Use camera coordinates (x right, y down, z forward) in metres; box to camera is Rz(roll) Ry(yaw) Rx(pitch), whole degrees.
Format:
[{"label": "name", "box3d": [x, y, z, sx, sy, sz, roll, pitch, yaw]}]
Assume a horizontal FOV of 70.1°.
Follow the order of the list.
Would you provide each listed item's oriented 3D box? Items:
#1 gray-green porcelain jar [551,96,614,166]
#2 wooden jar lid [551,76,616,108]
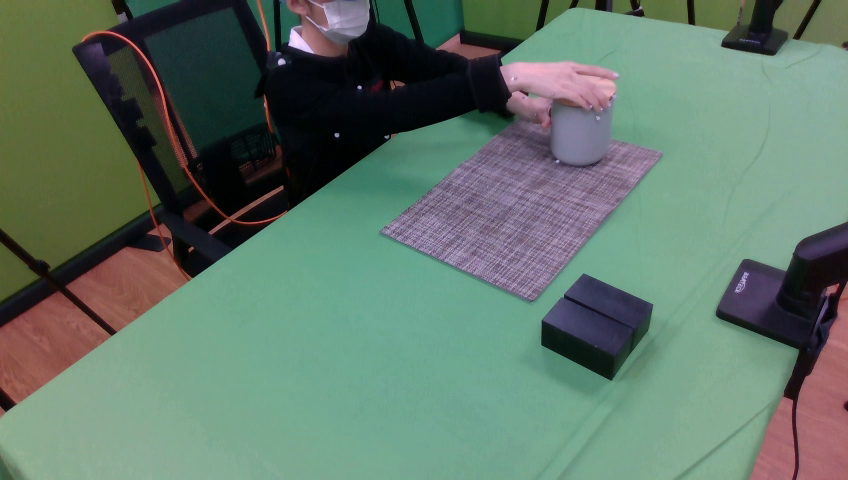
[{"label": "gray-green porcelain jar", "box3d": [0.282, -0.206, 1.087, 0.106, 0.127, 0.105, -5, 40, 4]}, {"label": "wooden jar lid", "box3d": [0.275, -0.253, 1.047, 0.108, 0.021, 0.108, -4, 38, 4]}]
